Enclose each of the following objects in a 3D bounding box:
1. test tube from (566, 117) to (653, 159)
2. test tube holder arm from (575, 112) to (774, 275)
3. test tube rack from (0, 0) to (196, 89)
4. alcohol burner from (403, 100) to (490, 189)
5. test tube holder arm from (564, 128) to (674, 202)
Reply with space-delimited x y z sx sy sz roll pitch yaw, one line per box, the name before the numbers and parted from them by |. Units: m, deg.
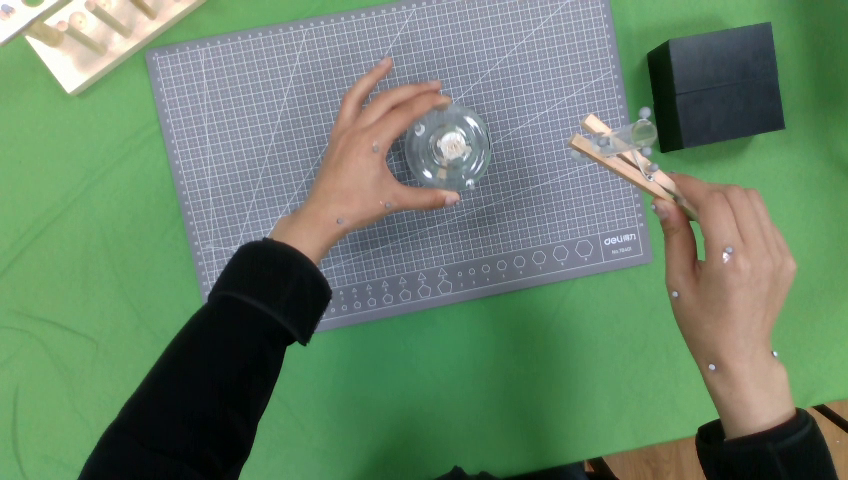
test tube | 0.120 -0.067 0.409 0.017 0.150 0.017 0 94 0
test tube holder arm | 0.177 -0.031 0.425 0.179 0.015 0.013 35 98 -7
test tube rack | -0.254 -0.238 0.532 0.242 0.085 0.067 -36 94 0
alcohol burner | 0.020 -0.083 0.521 0.078 0.119 0.078 0 96 -2
test tube holder arm | 0.137 -0.051 0.420 0.088 0.015 0.010 29 98 -6
